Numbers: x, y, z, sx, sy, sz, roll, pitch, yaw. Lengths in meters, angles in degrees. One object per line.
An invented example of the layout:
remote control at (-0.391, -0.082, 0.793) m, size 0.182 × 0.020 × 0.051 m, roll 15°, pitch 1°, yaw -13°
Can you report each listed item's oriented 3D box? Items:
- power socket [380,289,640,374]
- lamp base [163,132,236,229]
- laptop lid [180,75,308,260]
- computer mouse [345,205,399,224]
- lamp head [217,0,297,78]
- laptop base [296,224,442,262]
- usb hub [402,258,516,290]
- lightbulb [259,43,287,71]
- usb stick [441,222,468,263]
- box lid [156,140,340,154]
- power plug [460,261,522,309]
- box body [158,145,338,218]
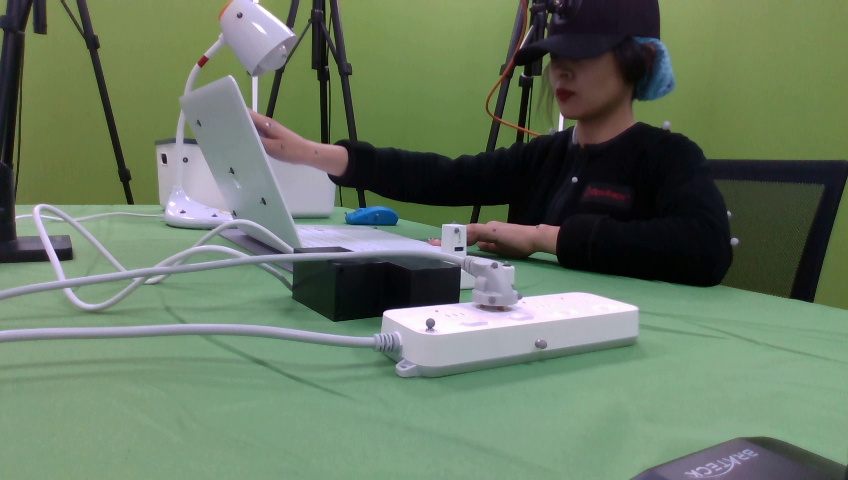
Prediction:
power socket at (0.072, 0.064, 0.461) m, size 0.228 × 0.032 × 0.072 m, roll -3°, pitch 7°, yaw -30°
lamp base at (-0.420, -0.116, 1.156) m, size 0.179 × 0.180 × 0.160 m, roll 0°, pitch 7°, yaw 0°
laptop lid at (-0.265, -0.099, 0.848) m, size 0.013 × 0.242 × 0.355 m, roll -28°, pitch 22°, yaw -24°
computer mouse at (-0.114, -0.055, 1.337) m, size 0.117 × 0.041 × 0.062 m, roll -4°, pitch 11°, yaw -19°
lamp head at (-0.315, -0.372, 1.102) m, size 0.123 × 0.112 × 0.112 m, roll 41°, pitch 3°, yaw -9°
laptop base at (-0.127, 0.003, 0.945) m, size 0.237 × 0.023 × 0.352 m, roll 2°, pitch 6°, yaw -31°
usb hub at (0.041, 0.038, 0.690) m, size 0.126 × 0.025 × 0.049 m, roll -2°, pitch 9°, yaw -30°
lightbulb at (-0.295, -0.357, 1.102) m, size 0.059 × 0.107 × 0.059 m, roll -37°, pitch 0°, yaw 1°
usb stick at (0.034, 0.009, 0.685) m, size 0.021 × 0.059 × 0.027 m, roll -2°, pitch 10°, yaw -30°
box lid at (-0.409, -0.213, 1.404) m, size 0.373 × 0.015 × 0.262 m, roll -2°, pitch 8°, yaw -32°
power plug at (0.043, 0.043, 0.444) m, size 0.035 × 0.052 × 0.073 m, roll -4°, pitch 7°, yaw 44°
box body at (-0.410, -0.139, 1.414) m, size 0.366 × 0.160 × 0.253 m, roll -3°, pitch 9°, yaw -33°
